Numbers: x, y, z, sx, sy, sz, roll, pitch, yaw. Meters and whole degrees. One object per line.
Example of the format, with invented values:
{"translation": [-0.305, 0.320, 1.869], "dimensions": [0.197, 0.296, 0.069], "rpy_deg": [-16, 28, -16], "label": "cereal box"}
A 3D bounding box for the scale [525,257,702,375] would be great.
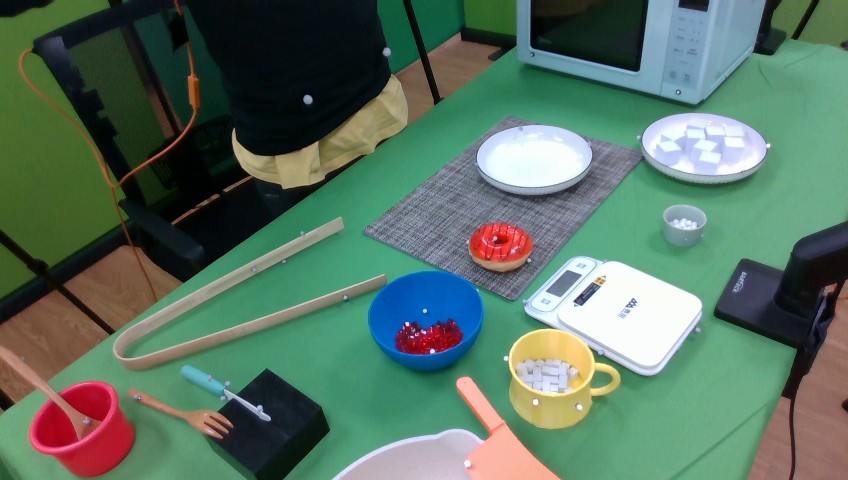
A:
{"translation": [0.254, 0.091, 0.821], "dimensions": [0.199, 0.032, 0.149], "rpy_deg": [28, 51, 35], "label": "scale"}

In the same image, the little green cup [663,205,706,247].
{"translation": [0.396, -0.021, 0.926], "dimensions": [0.061, 0.039, 0.061], "rpy_deg": [-4, 40, 4], "label": "little green cup"}

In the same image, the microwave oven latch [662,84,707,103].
{"translation": [0.517, -0.296, 1.204], "dimensions": [0.078, 0.029, 0.030], "rpy_deg": [27, 52, 35], "label": "microwave oven latch"}

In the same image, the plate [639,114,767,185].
{"translation": [0.489, -0.157, 1.074], "dimensions": [0.207, 0.039, 0.206], "rpy_deg": [-4, 40, 4], "label": "plate"}

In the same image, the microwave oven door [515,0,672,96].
{"translation": [0.343, -0.454, 1.259], "dimensions": [0.353, 0.245, 0.039], "rpy_deg": [26, 51, 33], "label": "microwave oven door"}

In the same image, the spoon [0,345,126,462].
{"translation": [-0.434, 0.192, 0.720], "dimensions": [0.194, 0.021, 0.042], "rpy_deg": [47, 54, -7], "label": "spoon"}

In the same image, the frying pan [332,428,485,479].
{"translation": [-0.089, 0.306, 0.564], "dimensions": [0.487, 0.103, 0.306], "rpy_deg": [9, 41, 7], "label": "frying pan"}

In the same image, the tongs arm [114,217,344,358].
{"translation": [-0.280, 0.067, 0.927], "dimensions": [0.386, 0.026, 0.050], "rpy_deg": [-29, 48, -23], "label": "tongs arm"}

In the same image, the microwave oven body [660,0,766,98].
{"translation": [0.472, -0.513, 1.317], "dimensions": [0.438, 0.261, 0.327], "rpy_deg": [26, 51, 34], "label": "microwave oven body"}

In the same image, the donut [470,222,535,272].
{"translation": [0.119, 0.009, 0.923], "dimensions": [0.099, 0.048, 0.098], "rpy_deg": [-4, 38, 3], "label": "donut"}

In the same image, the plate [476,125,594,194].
{"translation": [0.199, -0.141, 1.093], "dimensions": [0.209, 0.038, 0.208], "rpy_deg": [-4, 40, 4], "label": "plate"}

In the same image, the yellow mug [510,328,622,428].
{"translation": [0.169, 0.164, 0.722], "dimensions": [0.130, 0.064, 0.099], "rpy_deg": [0, 40, 8], "label": "yellow mug"}

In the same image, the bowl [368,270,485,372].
{"translation": [0.007, 0.118, 0.791], "dimensions": [0.151, 0.077, 0.150], "rpy_deg": [-4, 40, 4], "label": "bowl"}

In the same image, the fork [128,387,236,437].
{"translation": [-0.305, 0.207, 0.744], "dimensions": [0.206, 0.019, 0.028], "rpy_deg": [3, 41, 36], "label": "fork"}

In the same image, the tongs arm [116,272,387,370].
{"translation": [-0.237, 0.114, 0.870], "dimensions": [0.389, 0.028, 0.028], "rpy_deg": [-18, 49, -12], "label": "tongs arm"}

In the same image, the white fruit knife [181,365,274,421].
{"translation": [-0.245, 0.187, 0.747], "dimensions": [0.205, 0.027, 0.016], "rpy_deg": [9, 41, 40], "label": "white fruit knife"}

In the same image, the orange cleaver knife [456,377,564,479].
{"translation": [0.081, 0.220, 0.611], "dimensions": [0.077, 0.012, 0.209], "rpy_deg": [-26, 43, -22], "label": "orange cleaver knife"}
